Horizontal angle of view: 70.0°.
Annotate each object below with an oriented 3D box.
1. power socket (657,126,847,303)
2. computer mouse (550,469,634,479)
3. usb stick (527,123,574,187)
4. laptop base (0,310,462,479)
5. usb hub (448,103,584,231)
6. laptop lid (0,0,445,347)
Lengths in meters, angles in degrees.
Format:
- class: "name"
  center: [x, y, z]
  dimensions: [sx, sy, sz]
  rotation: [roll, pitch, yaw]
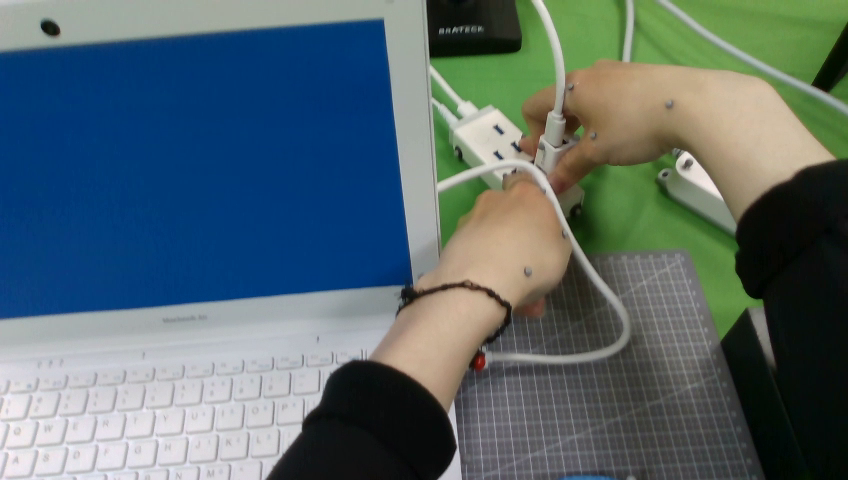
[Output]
- class: "power socket"
  center: [0.289, -0.013, 0.456]
  dimensions: [0.072, 0.033, 0.224]
  rotation: [-39, 61, -23]
- class: "computer mouse"
  center: [0.094, 0.179, 0.320]
  dimensions: [0.062, 0.041, 0.116]
  rotation: [6, 50, 11]
- class: "usb stick"
  center: [0.095, -0.060, 0.462]
  dimensions: [0.027, 0.059, 0.021]
  rotation: [-41, 68, -18]
- class: "laptop base"
  center: [-0.152, 0.161, 0.361]
  dimensions: [0.354, 0.023, 0.233]
  rotation: [-5, 57, 0]
- class: "usb hub"
  center: [0.073, -0.064, 0.507]
  dimensions: [0.049, 0.025, 0.124]
  rotation: [-29, 58, -17]
- class: "laptop lid"
  center: [-0.168, -0.024, 0.351]
  dimensions: [0.357, 0.244, 0.013]
  rotation: [-6, 41, 1]
